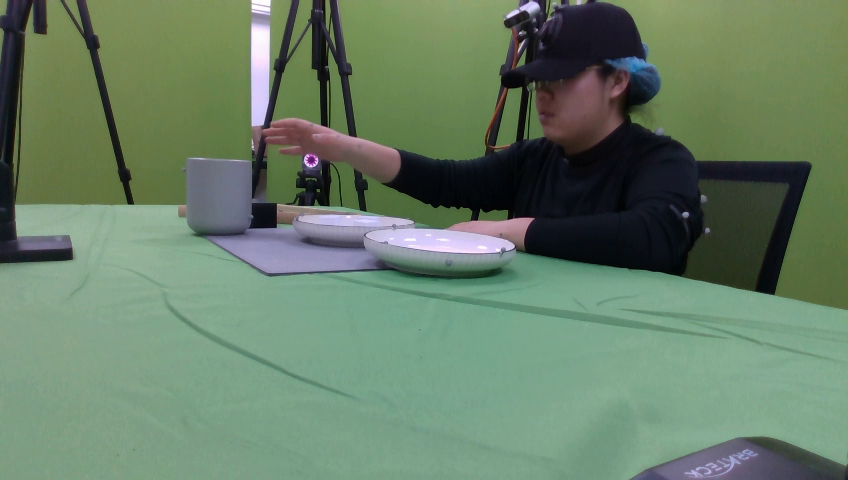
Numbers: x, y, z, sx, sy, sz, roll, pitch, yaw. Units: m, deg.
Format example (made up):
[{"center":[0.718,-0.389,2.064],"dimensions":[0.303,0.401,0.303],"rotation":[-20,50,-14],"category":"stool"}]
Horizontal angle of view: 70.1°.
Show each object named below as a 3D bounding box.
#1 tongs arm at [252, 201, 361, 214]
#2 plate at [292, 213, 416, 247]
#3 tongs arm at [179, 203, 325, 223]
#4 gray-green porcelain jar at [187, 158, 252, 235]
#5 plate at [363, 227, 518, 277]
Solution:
[{"center":[-0.306,-0.064,1.348],"dimensions":[0.384,0.026,0.051],"rotation":[7,8,19],"category":"tongs arm"},{"center":[-0.118,-0.017,1.024],"dimensions":[0.208,0.039,0.207],"rotation":[3,8,0],"category":"plate"},{"center":[-0.329,-0.053,1.270],"dimensions":[0.387,0.028,0.028],"rotation":[4,4,6],"category":"tongs arm"},{"center":[-0.350,-0.075,1.036],"dimensions":[0.106,0.126,0.106],"rotation":[3,8,0],"category":"gray-green porcelain jar"},{"center":[0.021,0.016,0.817],"dimensions":[0.209,0.038,0.209],"rotation":[4,9,0],"category":"plate"}]
